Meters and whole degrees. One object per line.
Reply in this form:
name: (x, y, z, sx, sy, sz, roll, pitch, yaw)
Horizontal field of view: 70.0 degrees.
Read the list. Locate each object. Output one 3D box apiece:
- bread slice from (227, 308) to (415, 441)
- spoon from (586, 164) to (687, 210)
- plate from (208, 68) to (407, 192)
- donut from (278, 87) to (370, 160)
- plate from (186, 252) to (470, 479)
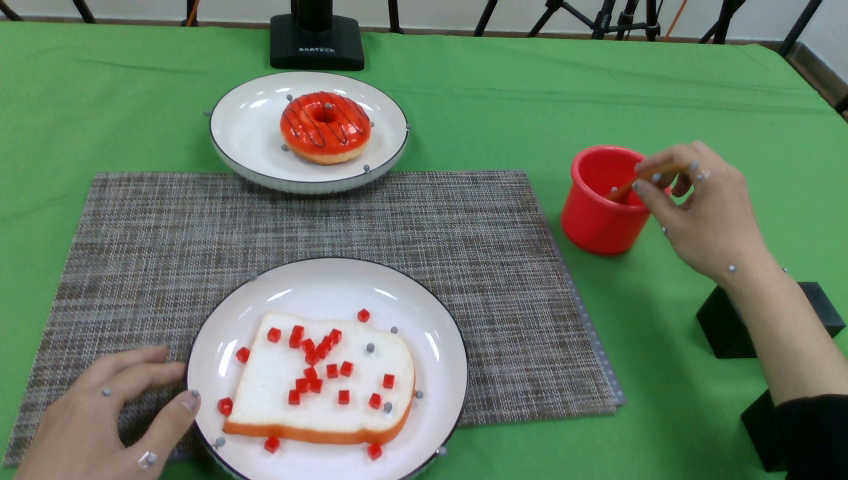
bread slice: (-0.072, 0.101, 0.465, 0.131, 0.019, 0.104, 7, 47, -2)
spoon: (0.195, -0.050, 0.567, 0.041, 0.194, 0.021, 11, 82, -1)
plate: (-0.123, -0.117, 0.658, 0.208, 0.039, 0.205, 5, 45, -5)
donut: (-0.107, -0.125, 0.652, 0.099, 0.048, 0.098, 6, 47, -6)
plate: (-0.070, 0.098, 0.465, 0.209, 0.038, 0.207, 5, 47, -5)
